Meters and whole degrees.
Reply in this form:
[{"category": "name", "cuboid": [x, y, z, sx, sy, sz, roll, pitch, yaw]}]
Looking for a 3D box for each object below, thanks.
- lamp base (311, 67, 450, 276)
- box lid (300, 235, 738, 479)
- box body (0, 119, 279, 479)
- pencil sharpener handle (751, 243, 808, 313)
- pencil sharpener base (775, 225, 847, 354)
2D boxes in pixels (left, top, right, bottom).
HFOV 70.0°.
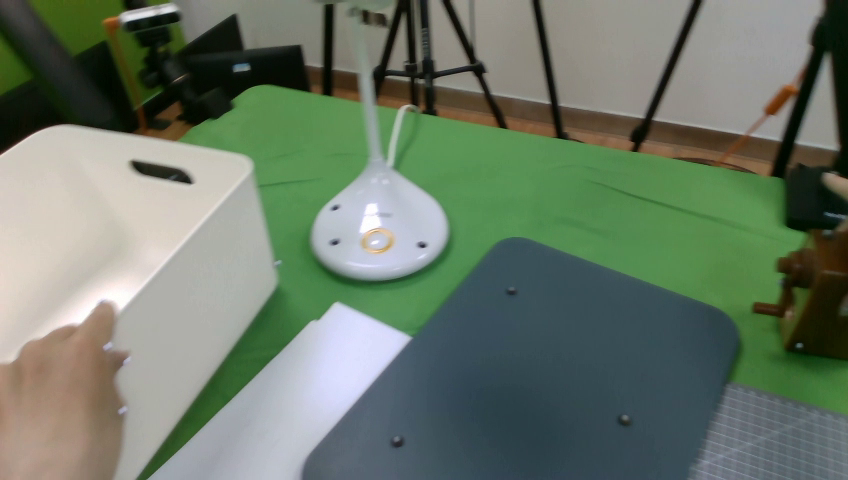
[{"category": "lamp base", "cuboid": [-0.055, -0.082, 0.661, 0.161, 0.182, 0.177, -6, 39, -4]}, {"category": "box lid", "cuboid": [0.098, 0.137, 0.534, 0.261, 0.015, 0.370, 23, 47, 27]}, {"category": "box body", "cuboid": [-0.322, 0.066, 0.523, 0.253, 0.162, 0.362, 12, 44, 16]}, {"category": "pencil sharpener handle", "cuboid": [0.315, 0.033, 0.540, 0.030, 0.068, 0.036, 8, 22, 14]}, {"category": "pencil sharpener base", "cuboid": [0.367, 0.046, 0.541, 0.076, 0.108, 0.061, 7, 45, 14]}]
